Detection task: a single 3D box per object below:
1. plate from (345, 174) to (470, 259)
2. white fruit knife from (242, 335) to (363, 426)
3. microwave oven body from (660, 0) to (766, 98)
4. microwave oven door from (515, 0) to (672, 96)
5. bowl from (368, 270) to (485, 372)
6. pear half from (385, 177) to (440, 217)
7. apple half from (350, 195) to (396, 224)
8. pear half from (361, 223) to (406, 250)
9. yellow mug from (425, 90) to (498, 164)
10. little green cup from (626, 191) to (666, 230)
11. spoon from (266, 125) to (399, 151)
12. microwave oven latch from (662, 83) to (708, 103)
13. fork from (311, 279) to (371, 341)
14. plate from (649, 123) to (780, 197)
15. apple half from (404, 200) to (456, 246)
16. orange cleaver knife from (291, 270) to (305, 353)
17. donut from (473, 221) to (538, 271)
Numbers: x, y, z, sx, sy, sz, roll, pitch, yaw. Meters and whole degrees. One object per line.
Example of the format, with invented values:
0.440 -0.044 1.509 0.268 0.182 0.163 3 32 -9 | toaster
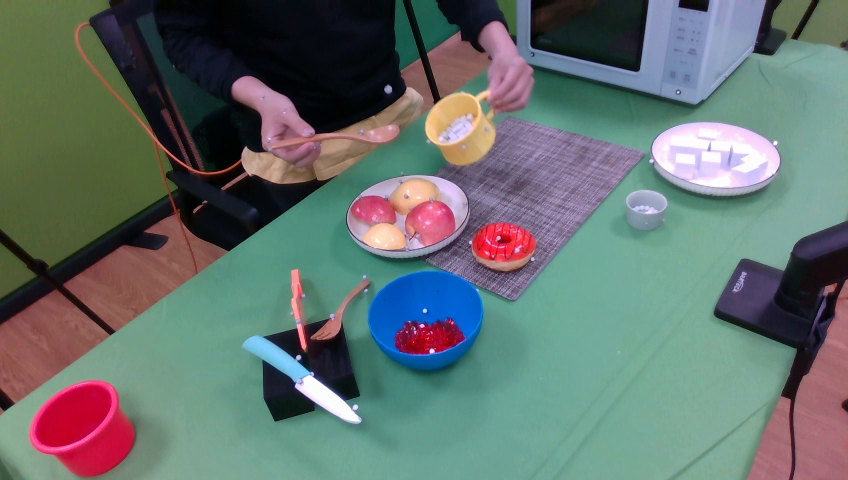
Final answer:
-0.026 -0.037 1.004 0.209 0.038 0.208 -4 40 4 | plate
-0.148 0.167 0.730 0.206 0.016 0.027 26 79 31 | white fruit knife
0.472 -0.513 1.317 0.438 0.261 0.327 26 51 34 | microwave oven body
0.343 -0.455 1.259 0.353 0.245 0.039 26 51 33 | microwave oven door
0.007 0.118 0.791 0.151 0.077 0.150 -5 40 4 | bowl
-0.030 -0.079 1.033 0.109 0.056 0.076 1 36 14 | pear half
-0.081 -0.056 1.008 0.081 0.033 0.081 11 24 -4 | apple half
-0.063 -0.012 0.959 0.071 0.031 0.087 3 24 -26 | pear half
0.070 -0.195 0.993 0.131 0.064 0.099 -43 54 3 | yellow mug
0.352 -0.046 0.963 0.061 0.039 0.061 -4 40 4 | little green cup
-0.130 -0.147 0.874 0.195 0.022 0.041 -8 43 -20 | spoon
0.518 -0.297 1.204 0.078 0.029 0.030 28 52 35 | microwave oven latch
-0.108 0.092 0.832 0.028 0.019 0.207 -6 19 15 | fork
0.497 -0.135 1.046 0.207 0.039 0.206 -4 40 4 | plate
0.009 -0.035 0.970 0.075 0.053 0.080 -27 40 -22 | apple half
-0.175 0.094 0.844 0.012 0.077 0.210 -11 14 -10 | orange cleaver knife
0.123 0.008 0.923 0.099 0.048 0.098 -3 38 3 | donut
